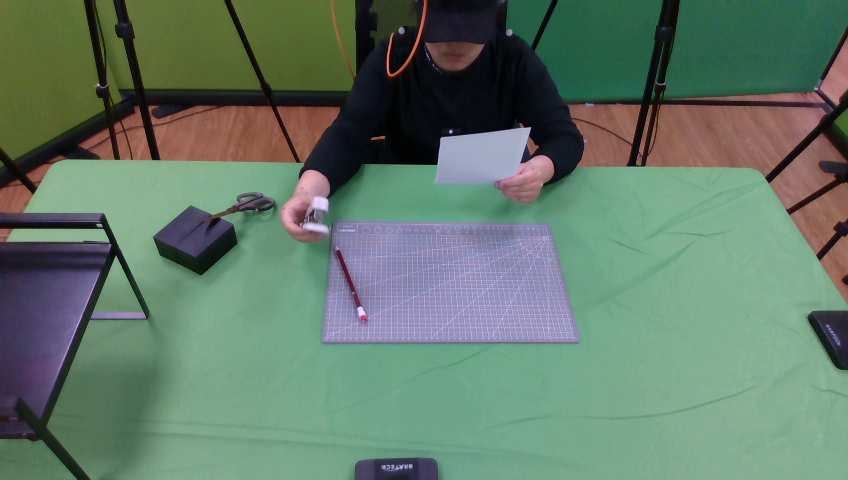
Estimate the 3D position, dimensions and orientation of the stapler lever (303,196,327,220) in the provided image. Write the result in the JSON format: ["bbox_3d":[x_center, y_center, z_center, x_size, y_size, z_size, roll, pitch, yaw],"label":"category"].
[{"bbox_3d":[-0.194,-0.055,1.078,0.027,0.118,0.040,11,86,-17],"label":"stapler lever"}]

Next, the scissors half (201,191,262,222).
[{"bbox_3d":[-0.381,-0.066,1.198,0.040,0.013,0.175,24,28,10],"label":"scissors half"}]

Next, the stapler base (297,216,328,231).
[{"bbox_3d":[-0.197,-0.030,1.076,0.041,0.130,0.024,11,86,-17],"label":"stapler base"}]

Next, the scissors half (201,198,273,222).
[{"bbox_3d":[-0.364,-0.056,1.192,0.040,0.013,0.175,38,32,22],"label":"scissors half"}]

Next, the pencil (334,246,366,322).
[{"bbox_3d":[-0.140,0.077,1.117,0.012,0.012,0.192,-14,48,-17],"label":"pencil"}]
